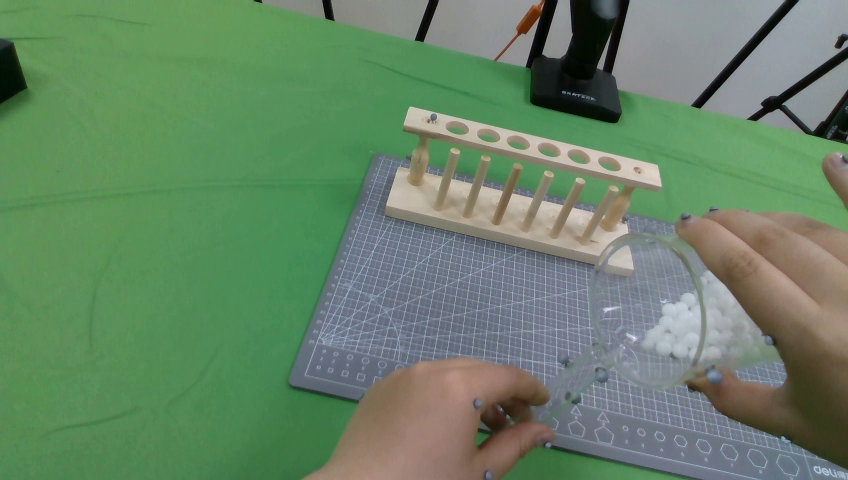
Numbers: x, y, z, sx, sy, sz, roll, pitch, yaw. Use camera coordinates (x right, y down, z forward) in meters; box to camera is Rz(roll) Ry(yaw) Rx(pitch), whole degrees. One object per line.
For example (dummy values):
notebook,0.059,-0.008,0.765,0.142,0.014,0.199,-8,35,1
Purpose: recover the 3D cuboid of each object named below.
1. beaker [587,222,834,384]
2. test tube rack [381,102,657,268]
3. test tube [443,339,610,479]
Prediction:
beaker,0.144,0.030,0.308,0.101,0.084,0.073,-3,52,-24
test tube rack,0.089,-0.051,0.579,0.242,0.086,0.066,13,44,-2
test tube,0.054,0.107,0.357,0.017,0.150,0.017,25,35,-18
